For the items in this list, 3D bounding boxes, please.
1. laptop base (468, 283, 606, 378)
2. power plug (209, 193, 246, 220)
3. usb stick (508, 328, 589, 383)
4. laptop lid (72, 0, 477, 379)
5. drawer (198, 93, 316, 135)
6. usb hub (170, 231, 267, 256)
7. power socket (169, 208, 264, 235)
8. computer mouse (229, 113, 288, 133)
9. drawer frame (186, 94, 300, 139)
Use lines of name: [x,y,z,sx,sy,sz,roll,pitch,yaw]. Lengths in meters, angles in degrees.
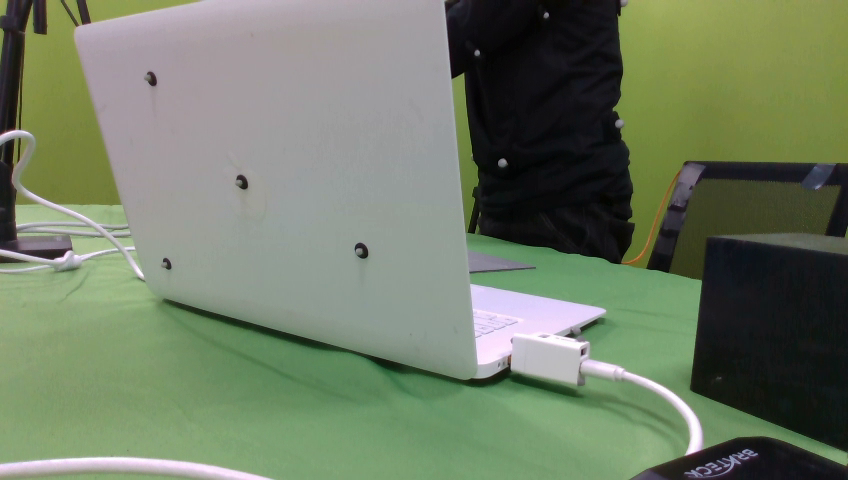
laptop base: [-0.042,0.058,0.554,0.352,0.023,0.237,8,7,35]
power plug: [-0.388,-0.067,1.205,0.072,0.052,0.035,4,8,27]
usb stick: [0.072,0.072,0.383,0.059,0.027,0.021,2,2,34]
laptop lid: [-0.125,-0.042,0.418,0.355,0.241,0.013,9,25,34]
drawer: [-0.361,-0.263,1.295,0.195,0.073,0.210,-3,9,-33]
usb hub: [-0.290,0.004,0.862,0.049,0.025,0.126,10,11,42]
power socket: [-0.381,-0.038,1.128,0.072,0.032,0.227,4,8,16]
computer mouse: [-0.347,-0.246,1.271,0.118,0.041,0.062,-8,16,-33]
drawer frame: [-0.414,-0.276,1.373,0.203,0.082,0.212,-3,8,-32]
